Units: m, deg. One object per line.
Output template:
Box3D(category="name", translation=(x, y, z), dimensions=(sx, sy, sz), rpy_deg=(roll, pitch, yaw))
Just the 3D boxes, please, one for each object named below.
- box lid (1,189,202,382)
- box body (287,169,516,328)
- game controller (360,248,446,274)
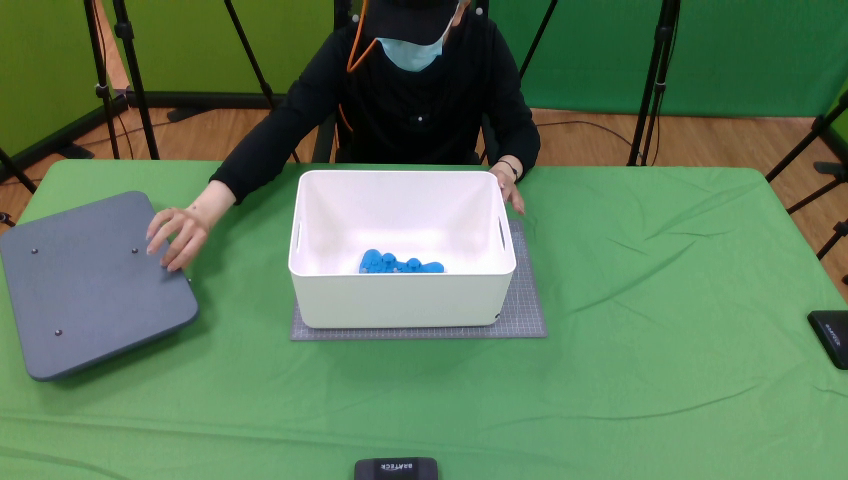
Box3D(category="box lid", translation=(-0.565, 0.058, 1.050), dimensions=(0.263, 0.015, 0.369), rpy_deg=(-23, 52, -23))
Box3D(category="box body", translation=(-0.040, 0.015, 1.075), dimensions=(0.364, 0.161, 0.252), rpy_deg=(-1, 47, -4))
Box3D(category="game controller", translation=(-0.043, 0.056, 1.107), dimensions=(0.155, 0.052, 0.096), rpy_deg=(12, 52, 8))
